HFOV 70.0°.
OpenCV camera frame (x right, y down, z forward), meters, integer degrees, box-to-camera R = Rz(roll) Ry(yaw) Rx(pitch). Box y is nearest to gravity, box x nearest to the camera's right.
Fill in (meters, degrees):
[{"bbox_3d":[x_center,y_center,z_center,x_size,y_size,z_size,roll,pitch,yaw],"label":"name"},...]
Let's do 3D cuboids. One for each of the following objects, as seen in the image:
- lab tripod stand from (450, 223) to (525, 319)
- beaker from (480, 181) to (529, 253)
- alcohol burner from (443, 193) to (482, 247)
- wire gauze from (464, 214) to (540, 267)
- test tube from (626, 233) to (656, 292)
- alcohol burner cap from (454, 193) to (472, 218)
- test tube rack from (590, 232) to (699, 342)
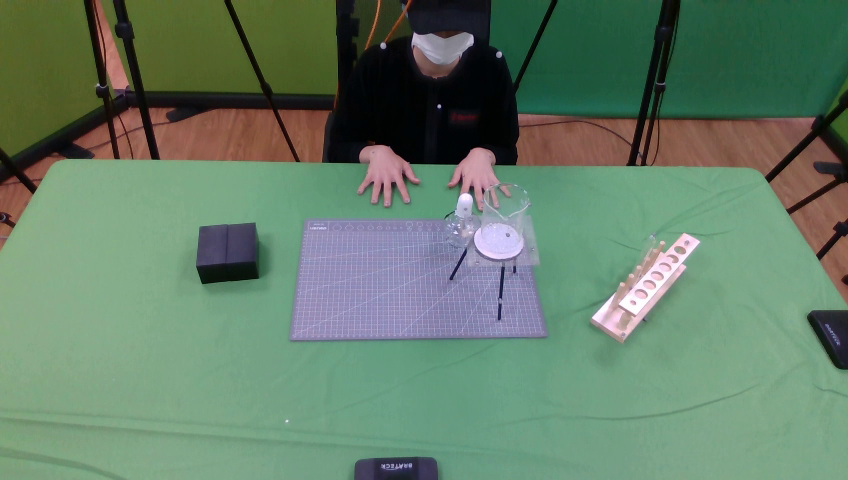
[{"bbox_3d":[0.120,0.046,1.080,0.148,0.132,0.147,1,47,-1],"label":"lab tripod stand"},{"bbox_3d":[0.130,-0.033,0.998,0.074,0.101,0.083,5,47,4],"label":"beaker"},{"bbox_3d":[0.075,-0.044,1.177,0.078,0.120,0.077,1,44,-1],"label":"alcohol burner"},{"bbox_3d":[0.131,-0.001,1.035,0.121,0.011,0.124,1,44,-2],"label":"wire gauze"},{"bbox_3d":[0.384,0.042,1.079,0.017,0.151,0.017,1,47,-1],"label":"test tube"},{"bbox_3d":[0.076,-0.068,1.151,0.034,0.048,0.033,4,46,-3],"label":"alcohol burner cap"},{"bbox_3d":[0.407,0.074,1.112,0.066,0.085,0.242,35,53,26],"label":"test tube rack"}]
